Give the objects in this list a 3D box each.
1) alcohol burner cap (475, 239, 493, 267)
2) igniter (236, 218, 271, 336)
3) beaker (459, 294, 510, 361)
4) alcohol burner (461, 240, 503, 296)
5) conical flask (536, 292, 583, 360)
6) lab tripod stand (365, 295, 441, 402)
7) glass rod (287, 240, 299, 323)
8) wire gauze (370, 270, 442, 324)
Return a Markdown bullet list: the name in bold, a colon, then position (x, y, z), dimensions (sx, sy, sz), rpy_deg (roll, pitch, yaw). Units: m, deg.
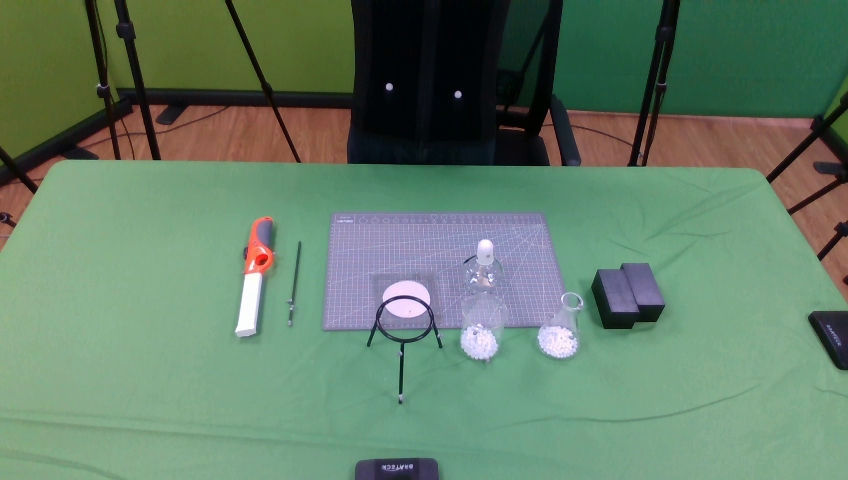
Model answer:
- **alcohol burner cap**: position (0.107, 0.020, 1.071), dimensions (0.034, 0.048, 0.033), rpy_deg (-2, 46, 2)
- **igniter**: position (-0.312, 0.058, 1.115), dimensions (0.057, 0.025, 0.274), rpy_deg (-9, 46, 2)
- **beaker**: position (0.095, 0.147, 1.012), dimensions (0.083, 0.101, 0.074), rpy_deg (26, 49, 21)
- **alcohol burner**: position (0.106, 0.045, 1.098), dimensions (0.078, 0.120, 0.077), rpy_deg (1, 44, -1)
- **conical flask**: position (0.234, 0.139, 1.015), dimensions (0.075, 0.122, 0.075), rpy_deg (2, 46, -2)
- **lab tripod stand**: position (-0.031, 0.160, 0.966), dimensions (0.148, 0.132, 0.147), rpy_deg (3, 44, -2)
- **glass rod**: position (-0.242, 0.072, 1.120), dimensions (0.008, 0.008, 0.198), rpy_deg (-1, 47, -5)
- **wire gauze**: position (-0.035, 0.104, 1.103), dimensions (0.125, 0.011, 0.120), rpy_deg (-3, 46, -5)
